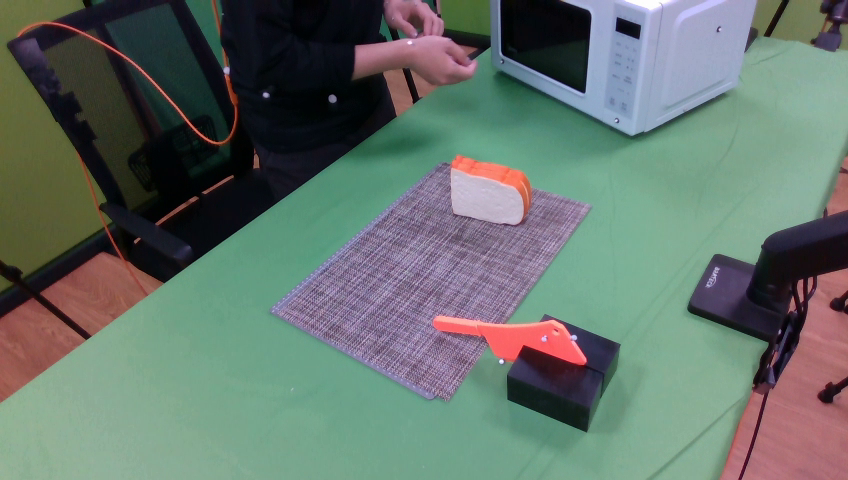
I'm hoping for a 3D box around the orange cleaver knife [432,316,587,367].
[{"bbox_3d":[0.101,0.127,0.761,0.210,0.077,0.012,-1,34,40],"label":"orange cleaver knife"}]

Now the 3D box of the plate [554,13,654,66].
[{"bbox_3d":[0.386,-0.427,1.306,0.207,0.039,0.206,-4,44,5],"label":"plate"}]

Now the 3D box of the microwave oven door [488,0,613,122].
[{"bbox_3d":[0.251,-0.412,1.219,0.039,0.245,0.352,-27,44,-21],"label":"microwave oven door"}]

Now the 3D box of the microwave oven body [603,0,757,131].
[{"bbox_3d":[0.396,-0.448,1.248,0.327,0.261,0.437,-27,44,-21],"label":"microwave oven body"}]

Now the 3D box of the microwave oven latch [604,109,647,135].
[{"bbox_3d":[0.378,-0.225,1.139,0.030,0.029,0.078,-26,43,-20],"label":"microwave oven latch"}]

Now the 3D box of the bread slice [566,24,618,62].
[{"bbox_3d":[0.363,-0.430,1.320,0.107,0.018,0.134,1,49,9],"label":"bread slice"}]
